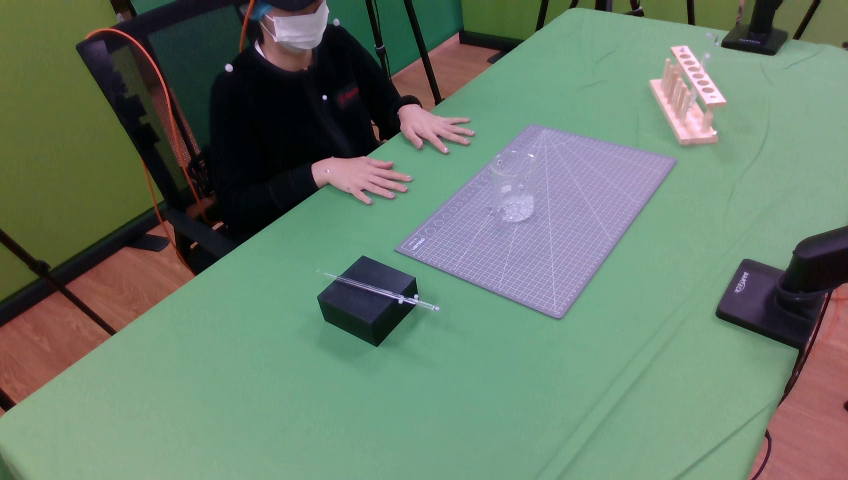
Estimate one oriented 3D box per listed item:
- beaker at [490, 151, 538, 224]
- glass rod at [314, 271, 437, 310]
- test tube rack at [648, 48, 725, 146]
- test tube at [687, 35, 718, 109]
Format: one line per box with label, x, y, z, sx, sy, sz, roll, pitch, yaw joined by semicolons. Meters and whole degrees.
beaker;0.151;-0.084;0.988;0.084;0.101;0.073;-24;43;-20
glass rod;-0.072;0.069;0.837;0.198;0.008;0.008;14;44;24
test tube rack;0.508;-0.285;1.186;0.067;0.085;0.241;-4;40;6
test tube;0.521;-0.313;1.137;0.017;0.151;0.017;0;44;0
